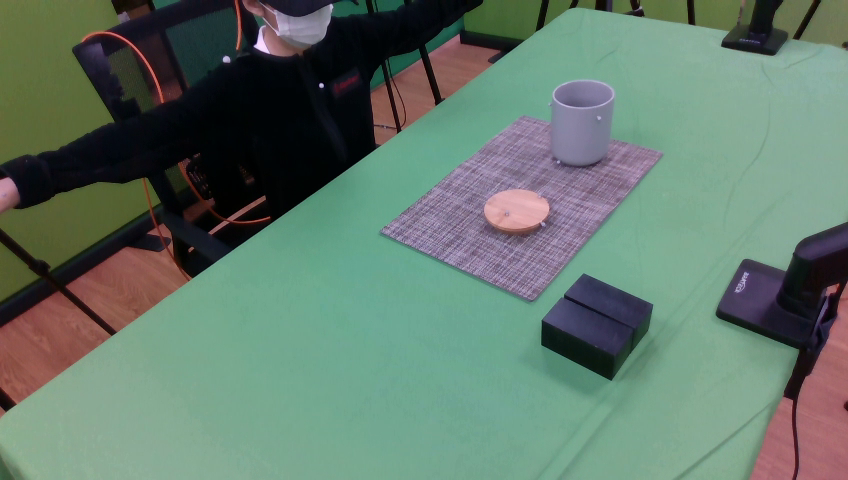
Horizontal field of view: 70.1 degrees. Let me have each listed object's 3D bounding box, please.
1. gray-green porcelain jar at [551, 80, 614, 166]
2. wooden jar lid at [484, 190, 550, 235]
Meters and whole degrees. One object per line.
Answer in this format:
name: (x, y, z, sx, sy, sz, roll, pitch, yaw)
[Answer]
gray-green porcelain jar: (0.282, -0.205, 1.086, 0.106, 0.127, 0.105, -4, 40, 4)
wooden jar lid: (0.154, -0.045, 1.001, 0.108, 0.021, 0.108, -3, 40, 3)
